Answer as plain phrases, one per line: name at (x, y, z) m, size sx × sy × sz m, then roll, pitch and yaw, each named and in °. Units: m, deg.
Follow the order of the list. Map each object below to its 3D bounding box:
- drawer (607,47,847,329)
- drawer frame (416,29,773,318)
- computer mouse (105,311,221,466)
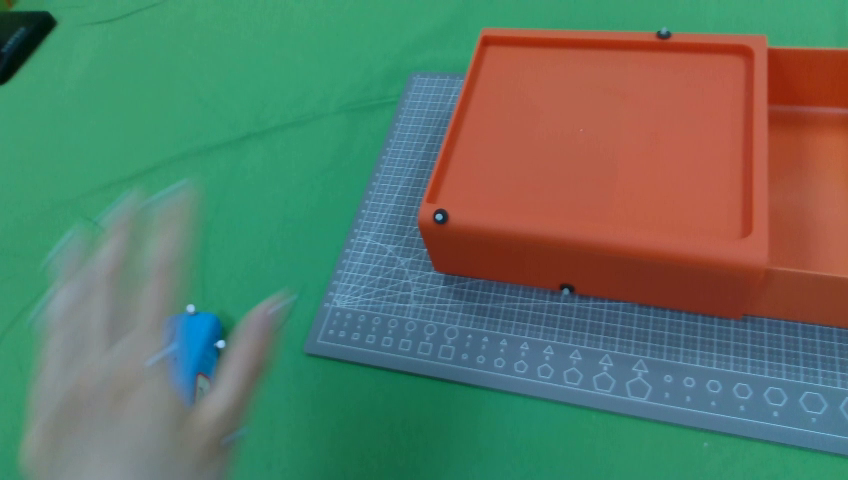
drawer at (0.237, -0.046, 0.410) m, size 0.211 × 0.074 × 0.193 m, roll 7°, pitch 60°, yaw 17°
drawer frame at (0.127, -0.059, 0.442) m, size 0.213 × 0.083 × 0.200 m, roll 7°, pitch 59°, yaw 18°
computer mouse at (-0.187, 0.102, 0.438) m, size 0.063 × 0.041 × 0.116 m, roll -10°, pitch 51°, yaw 9°
